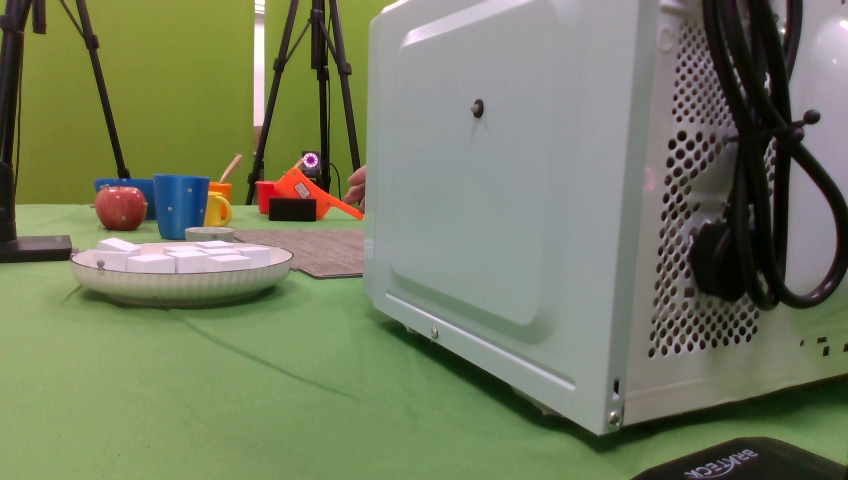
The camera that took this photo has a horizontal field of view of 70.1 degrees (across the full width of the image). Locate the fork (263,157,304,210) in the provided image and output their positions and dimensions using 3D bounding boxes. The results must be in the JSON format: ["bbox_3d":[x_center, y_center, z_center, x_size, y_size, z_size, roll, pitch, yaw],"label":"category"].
[{"bbox_3d":[-0.345,-0.143,1.505,0.028,0.019,0.207,-4,46,28],"label":"fork"}]

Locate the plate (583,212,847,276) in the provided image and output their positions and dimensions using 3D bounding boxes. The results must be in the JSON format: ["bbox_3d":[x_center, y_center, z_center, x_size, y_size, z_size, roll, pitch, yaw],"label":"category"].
[{"bbox_3d":[0.239,0.001,0.510,0.209,0.038,0.209,2,6,0],"label":"plate"}]

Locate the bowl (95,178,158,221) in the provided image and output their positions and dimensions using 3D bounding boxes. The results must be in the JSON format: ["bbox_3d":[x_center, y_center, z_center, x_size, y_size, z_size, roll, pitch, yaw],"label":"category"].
[{"bbox_3d":[-0.576,-0.081,1.217,0.151,0.077,0.151,3,8,0],"label":"bowl"}]

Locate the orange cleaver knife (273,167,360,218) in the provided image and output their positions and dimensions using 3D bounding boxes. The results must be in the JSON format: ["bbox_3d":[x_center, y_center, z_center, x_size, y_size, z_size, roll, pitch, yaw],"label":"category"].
[{"bbox_3d":[-0.238,-0.091,1.381,0.212,0.077,0.012,31,0,-19],"label":"orange cleaver knife"}]

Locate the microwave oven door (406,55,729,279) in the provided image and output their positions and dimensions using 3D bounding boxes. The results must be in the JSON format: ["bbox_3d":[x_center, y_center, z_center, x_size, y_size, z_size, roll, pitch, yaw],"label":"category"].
[{"bbox_3d":[0.162,-0.083,0.699,0.356,0.243,0.039,2,8,-1],"label":"microwave oven door"}]

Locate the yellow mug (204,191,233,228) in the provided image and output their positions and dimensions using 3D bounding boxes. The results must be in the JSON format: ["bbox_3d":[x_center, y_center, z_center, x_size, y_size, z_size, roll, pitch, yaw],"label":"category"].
[{"bbox_3d":[-0.415,-0.057,1.131,0.130,0.064,0.100,6,8,16],"label":"yellow mug"}]

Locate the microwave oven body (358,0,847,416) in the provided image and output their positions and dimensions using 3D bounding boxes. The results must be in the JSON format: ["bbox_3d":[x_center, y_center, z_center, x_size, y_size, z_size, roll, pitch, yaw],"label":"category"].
[{"bbox_3d":[0.211,-0.047,0.474,0.444,0.260,0.324,-1,7,-28],"label":"microwave oven body"}]

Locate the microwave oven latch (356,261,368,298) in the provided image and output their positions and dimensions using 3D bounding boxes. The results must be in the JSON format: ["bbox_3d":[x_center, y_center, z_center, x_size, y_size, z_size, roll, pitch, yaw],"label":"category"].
[{"bbox_3d":[-0.019,0.033,0.529,0.079,0.029,0.030,0,7,-24],"label":"microwave oven latch"}]

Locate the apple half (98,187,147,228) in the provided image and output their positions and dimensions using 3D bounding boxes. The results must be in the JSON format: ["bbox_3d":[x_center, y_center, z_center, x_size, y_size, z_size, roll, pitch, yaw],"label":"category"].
[{"bbox_3d":[-0.534,-0.059,1.071,0.082,0.081,0.032,-1,11,-25],"label":"apple half"}]

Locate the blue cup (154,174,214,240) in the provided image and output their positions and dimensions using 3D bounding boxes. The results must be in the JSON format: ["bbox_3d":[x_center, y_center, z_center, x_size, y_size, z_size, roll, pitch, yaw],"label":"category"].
[{"bbox_3d":[-0.391,-0.053,0.978,0.093,0.100,0.092,3,6,0],"label":"blue cup"}]

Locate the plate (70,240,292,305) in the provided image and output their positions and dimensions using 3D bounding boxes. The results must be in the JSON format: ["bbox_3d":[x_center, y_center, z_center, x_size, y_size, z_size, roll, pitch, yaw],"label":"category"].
[{"bbox_3d":[-0.242,0.031,0.618,0.208,0.039,0.207,2,8,0],"label":"plate"}]

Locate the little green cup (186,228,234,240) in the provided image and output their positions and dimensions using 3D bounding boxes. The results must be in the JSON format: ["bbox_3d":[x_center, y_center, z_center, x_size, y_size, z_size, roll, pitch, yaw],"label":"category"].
[{"bbox_3d":[-0.284,0.005,0.805,0.061,0.038,0.061,2,8,0],"label":"little green cup"}]

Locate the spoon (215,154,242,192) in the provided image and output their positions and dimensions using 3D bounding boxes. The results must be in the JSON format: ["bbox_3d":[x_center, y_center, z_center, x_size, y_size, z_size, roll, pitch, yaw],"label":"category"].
[{"bbox_3d":[-0.438,-0.124,1.318,0.041,0.193,0.022,6,-36,15],"label":"spoon"}]

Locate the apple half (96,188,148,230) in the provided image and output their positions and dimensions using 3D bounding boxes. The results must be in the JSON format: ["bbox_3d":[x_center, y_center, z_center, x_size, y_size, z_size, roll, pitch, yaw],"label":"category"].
[{"bbox_3d":[-0.517,-0.052,1.036,0.081,0.074,0.053,2,10,-26],"label":"apple half"}]
